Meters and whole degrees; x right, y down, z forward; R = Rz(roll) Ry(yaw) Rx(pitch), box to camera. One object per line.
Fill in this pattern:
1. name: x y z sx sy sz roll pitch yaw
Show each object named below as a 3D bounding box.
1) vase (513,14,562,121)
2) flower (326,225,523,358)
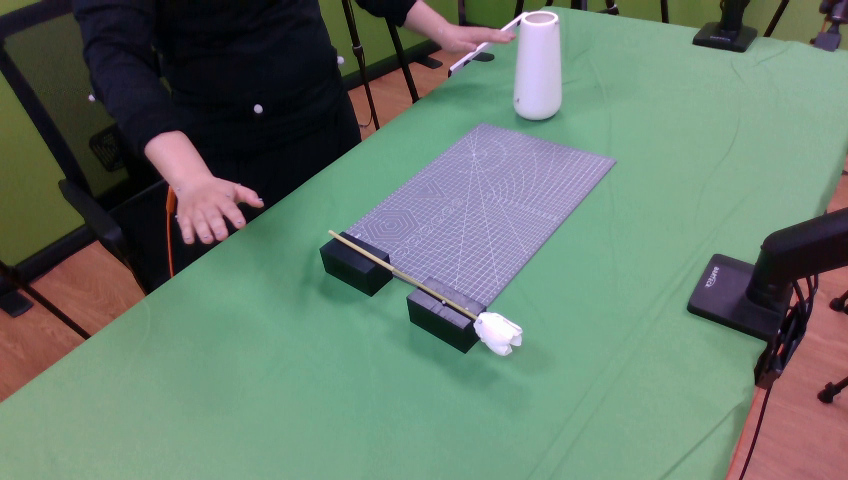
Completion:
1. vase: 0.225 -0.336 1.196 0.098 0.201 0.097 -5 42 5
2. flower: -0.018 0.054 0.836 0.359 0.038 0.044 30 84 32
